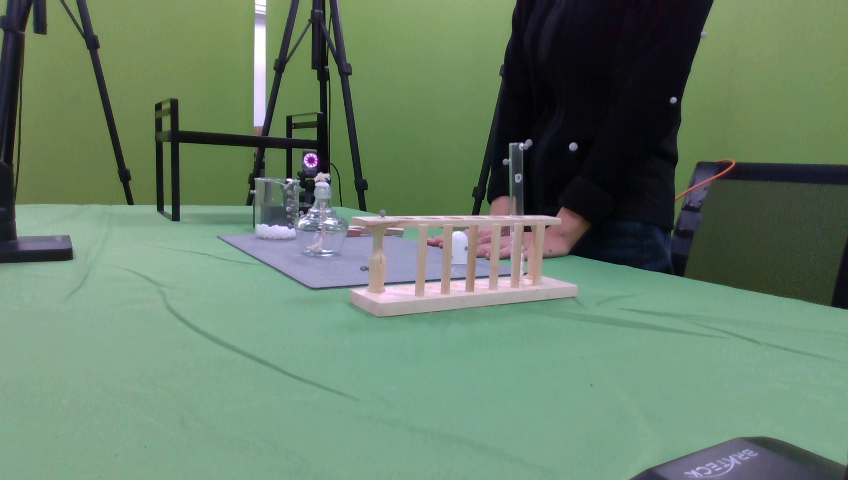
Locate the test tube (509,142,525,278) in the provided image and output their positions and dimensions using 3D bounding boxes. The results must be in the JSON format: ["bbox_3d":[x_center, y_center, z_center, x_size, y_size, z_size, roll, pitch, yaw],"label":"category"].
[{"bbox_3d":[0.102,-0.031,0.663,0.017,0.150,0.017,-2,9,1],"label":"test tube"}]

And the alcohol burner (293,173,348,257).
[{"bbox_3d":[-0.146,-0.036,0.859,0.078,0.119,0.078,4,8,0],"label":"alcohol burner"}]

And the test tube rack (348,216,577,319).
[{"bbox_3d":[0.048,0.021,0.619,0.244,0.085,0.066,-2,9,-31],"label":"test tube rack"}]

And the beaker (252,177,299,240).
[{"bbox_3d":[-0.245,-0.052,1.005,0.074,0.100,0.083,-2,10,-32],"label":"beaker"}]

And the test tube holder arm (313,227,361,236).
[{"bbox_3d":[-0.154,-0.015,1.069,0.088,0.015,0.010,0,40,-32],"label":"test tube holder arm"}]

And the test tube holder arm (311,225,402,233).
[{"bbox_3d":[-0.118,-0.019,1.098,0.179,0.015,0.013,-1,41,-34],"label":"test tube holder arm"}]

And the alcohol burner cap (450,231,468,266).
[{"bbox_3d":[0.046,0.012,0.838,0.034,0.048,0.034,2,6,0],"label":"alcohol burner cap"}]
